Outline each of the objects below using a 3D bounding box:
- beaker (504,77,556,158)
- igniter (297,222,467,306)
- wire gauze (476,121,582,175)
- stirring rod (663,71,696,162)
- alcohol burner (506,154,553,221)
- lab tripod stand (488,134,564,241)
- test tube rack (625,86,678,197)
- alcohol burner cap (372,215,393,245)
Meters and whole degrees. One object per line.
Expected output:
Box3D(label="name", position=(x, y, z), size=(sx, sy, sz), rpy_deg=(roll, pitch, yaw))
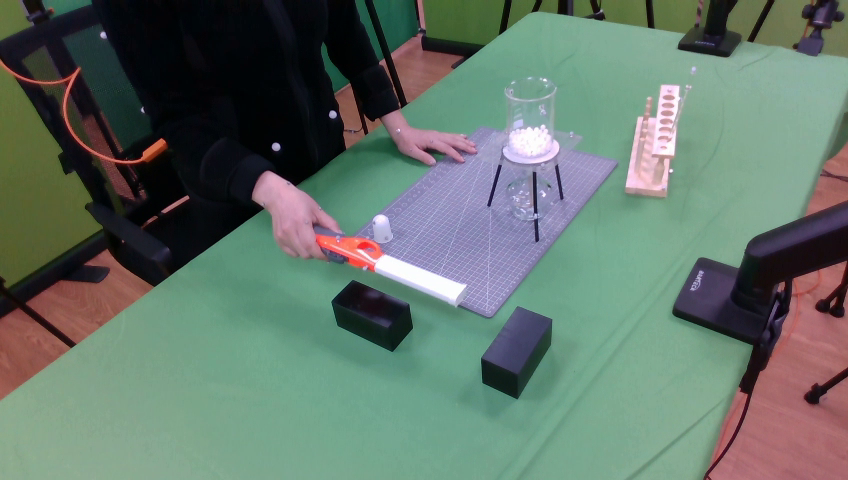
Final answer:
Box3D(label="beaker", position=(0.160, -0.181, 0.900), size=(0.084, 0.101, 0.073), rpy_deg=(-32, 45, -27))
Box3D(label="igniter", position=(-0.068, 0.028, 0.824), size=(0.274, 0.025, 0.057), rpy_deg=(20, 44, 26))
Box3D(label="wire gauze", position=(0.162, -0.142, 0.929), size=(0.120, 0.011, 0.125), rpy_deg=(19, 49, 32))
Box3D(label="stirring rod", position=(0.410, -0.196, 0.981), size=(0.014, 0.177, 0.006), rpy_deg=(11, 50, 14))
Box3D(label="alcohol burner", position=(0.171, -0.090, 0.984), size=(0.078, 0.119, 0.077), rpy_deg=(-5, 42, 5))
Box3D(label="lab tripod stand", position=(0.168, -0.092, 0.972), size=(0.148, 0.132, 0.147), rpy_deg=(-5, 41, 5))
Box3D(label="test tube rack", position=(0.412, -0.184, 1.088), size=(0.066, 0.085, 0.242), rpy_deg=(9, 43, 18))
Box3D(label="alcohol burner cap", position=(-0.070, -0.019, 0.990), size=(0.034, 0.048, 0.033), rpy_deg=(-4, 41, 4))
